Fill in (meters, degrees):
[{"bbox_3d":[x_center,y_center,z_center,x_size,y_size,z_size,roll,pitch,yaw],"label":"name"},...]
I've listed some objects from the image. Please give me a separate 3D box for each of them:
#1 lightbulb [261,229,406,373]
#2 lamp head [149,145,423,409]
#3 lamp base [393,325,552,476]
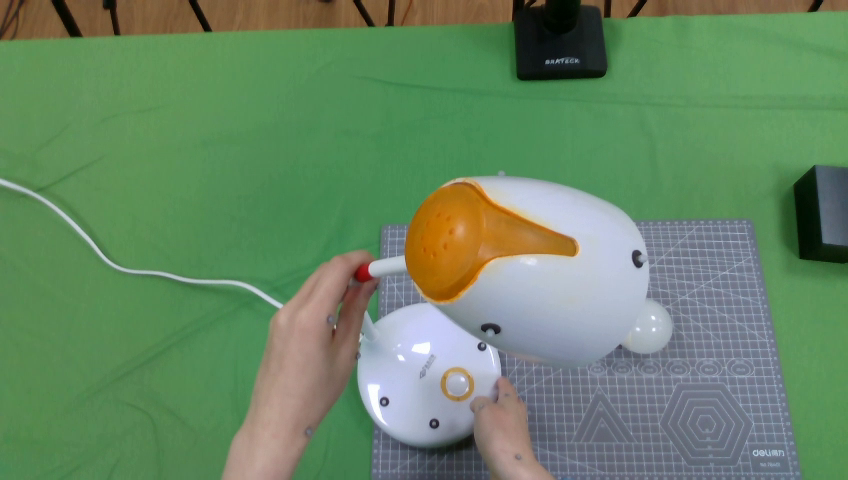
[{"bbox_3d":[-0.036,0.035,0.276,0.059,0.108,0.059,-1,67,2],"label":"lightbulb"},{"bbox_3d":[-0.075,0.030,0.290,0.113,0.123,0.111,16,61,-31],"label":"lamp head"},{"bbox_3d":[0.036,0.144,0.586,0.179,0.181,0.159,7,72,11],"label":"lamp base"}]
